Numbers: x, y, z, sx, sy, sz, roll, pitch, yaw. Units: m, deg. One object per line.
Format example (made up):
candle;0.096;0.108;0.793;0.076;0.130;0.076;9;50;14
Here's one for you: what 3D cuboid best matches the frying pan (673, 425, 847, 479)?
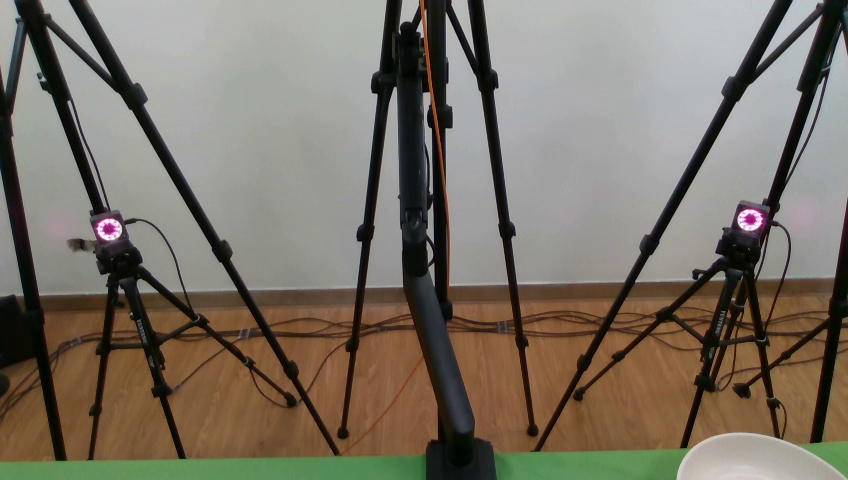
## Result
frying pan;0.522;0.468;0.839;0.306;0.103;0.484;1;26;5
